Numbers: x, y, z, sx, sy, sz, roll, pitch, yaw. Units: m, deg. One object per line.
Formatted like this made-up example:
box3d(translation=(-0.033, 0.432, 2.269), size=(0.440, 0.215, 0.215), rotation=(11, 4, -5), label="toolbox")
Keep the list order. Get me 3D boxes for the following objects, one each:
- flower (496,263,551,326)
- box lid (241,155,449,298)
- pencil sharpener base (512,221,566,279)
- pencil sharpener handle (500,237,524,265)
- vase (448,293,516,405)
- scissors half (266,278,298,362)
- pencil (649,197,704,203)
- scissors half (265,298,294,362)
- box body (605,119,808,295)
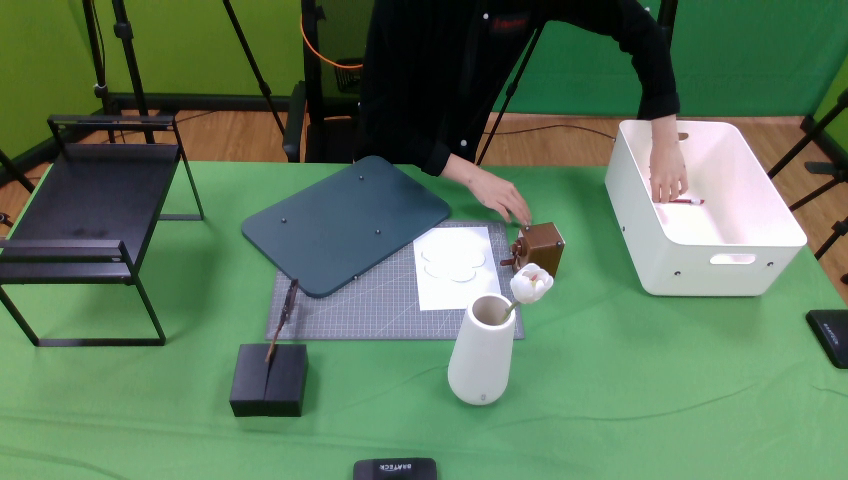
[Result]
box3d(translation=(0.102, 0.120, 0.853), size=(0.044, 0.363, 0.038), rotation=(-2, 64, -10), label="flower")
box3d(translation=(-0.157, -0.043, 1.234), size=(0.371, 0.015, 0.262), rotation=(-34, 56, -31), label="box lid")
box3d(translation=(0.209, 0.026, 1.130), size=(0.077, 0.107, 0.061), rotation=(-9, 48, -12), label="pencil sharpener base")
box3d(translation=(0.159, 0.024, 1.111), size=(0.031, 0.068, 0.035), rotation=(-9, 54, -12), label="pencil sharpener handle")
box3d(translation=(0.091, 0.169, 0.921), size=(0.098, 0.201, 0.097), rotation=(3, 47, -3), label="vase")
box3d(translation=(-0.234, 0.127, 0.993), size=(0.013, 0.040, 0.174), rotation=(12, 46, -4), label="scissors half")
box3d(translation=(0.513, -0.089, 1.321), size=(0.194, 0.012, 0.012), rotation=(2, 46, -2), label="pencil")
box3d(translation=(-0.239, 0.143, 1.005), size=(0.013, 0.040, 0.174), rotation=(17, 28, -6), label="scissors half")
box3d(translation=(0.529, -0.068, 1.206), size=(0.254, 0.161, 0.361), rotation=(1, 46, -4), label="box body")
